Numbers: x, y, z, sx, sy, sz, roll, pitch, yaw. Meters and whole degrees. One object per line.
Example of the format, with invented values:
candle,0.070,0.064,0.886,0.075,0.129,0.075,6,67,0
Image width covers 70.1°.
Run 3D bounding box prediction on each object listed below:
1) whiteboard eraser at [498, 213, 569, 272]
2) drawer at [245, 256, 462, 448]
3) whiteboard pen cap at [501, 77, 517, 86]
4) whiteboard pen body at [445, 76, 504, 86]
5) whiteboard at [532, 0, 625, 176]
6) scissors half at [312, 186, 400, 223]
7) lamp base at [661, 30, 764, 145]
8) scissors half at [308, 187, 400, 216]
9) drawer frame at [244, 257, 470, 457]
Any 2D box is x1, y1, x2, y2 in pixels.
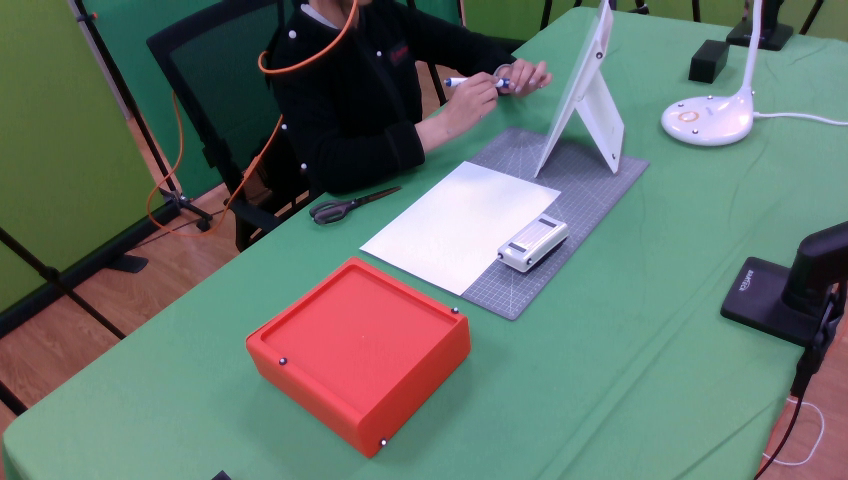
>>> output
whiteboard eraser,0.168,0.006,0.924,0.113,0.042,0.055,-36,49,-28
drawer,-0.089,0.136,0.792,0.210,0.073,0.195,26,51,34
whiteboard pen cap,0.162,-0.308,1.170,0.033,0.018,0.018,-6,36,-29
whiteboard pen body,0.105,-0.300,1.144,0.142,0.017,0.017,-6,37,-25
whiteboard,0.320,-0.258,1.050,0.144,0.306,0.217,21,45,5
scissors half,-0.118,-0.066,1.088,0.176,0.013,0.040,-25,38,-24
lamp base,0.535,-0.287,1.096,0.179,0.181,0.159,-10,40,-4
scissors half,-0.126,-0.075,1.105,0.176,0.013,0.039,-15,29,-10
drawer frame,-0.084,0.138,0.788,0.212,0.083,0.202,25,50,33
